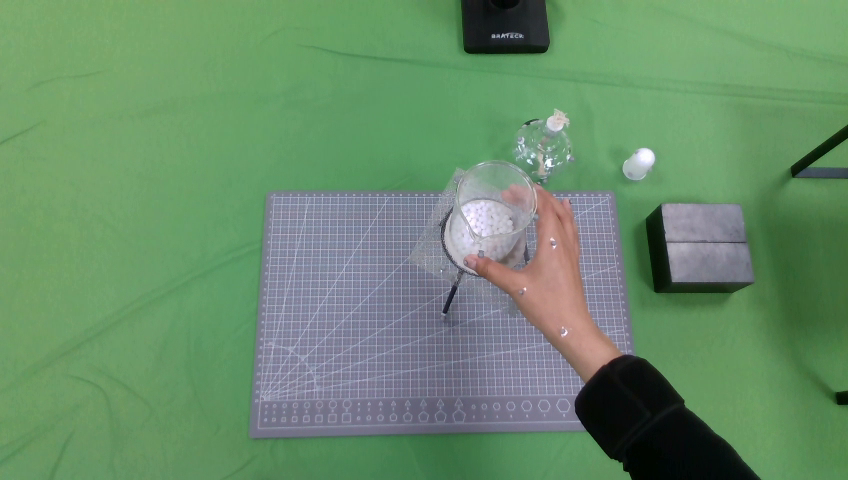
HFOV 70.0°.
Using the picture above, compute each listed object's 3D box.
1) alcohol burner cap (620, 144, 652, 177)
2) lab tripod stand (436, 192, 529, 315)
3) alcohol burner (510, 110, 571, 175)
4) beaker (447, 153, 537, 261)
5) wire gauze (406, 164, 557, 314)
[{"bbox_3d":[0.279,-0.105,0.788,0.034,0.048,0.033,0,71,-1],"label":"alcohol burner cap"},{"bbox_3d":[0.060,0.010,0.689,0.148,0.132,0.147,1,70,-3],"label":"lab tripod stand"},{"bbox_3d":[0.148,-0.128,0.751,0.078,0.119,0.077,1,72,-4],"label":"alcohol burner"},{"bbox_3d":[0.059,-0.023,0.579,0.074,0.101,0.083,24,72,5],"label":"beaker"},{"bbox_3d":[0.061,-0.005,0.624,0.125,0.011,0.121,28,74,3],"label":"wire gauze"}]
